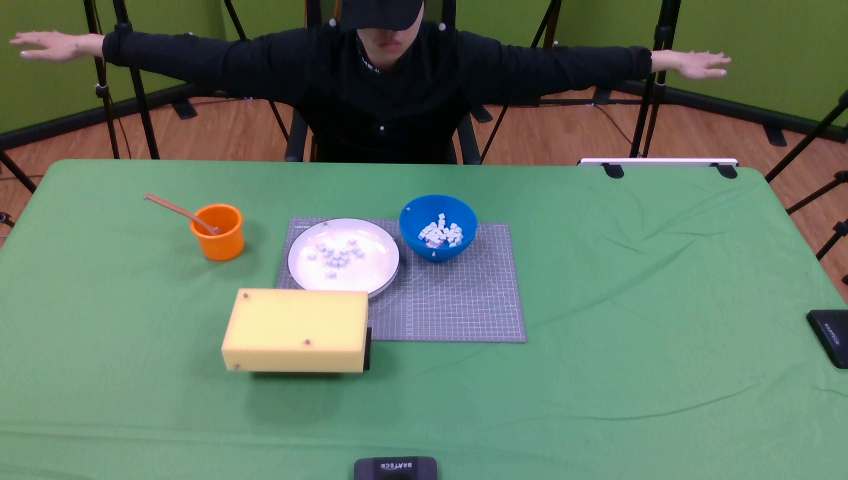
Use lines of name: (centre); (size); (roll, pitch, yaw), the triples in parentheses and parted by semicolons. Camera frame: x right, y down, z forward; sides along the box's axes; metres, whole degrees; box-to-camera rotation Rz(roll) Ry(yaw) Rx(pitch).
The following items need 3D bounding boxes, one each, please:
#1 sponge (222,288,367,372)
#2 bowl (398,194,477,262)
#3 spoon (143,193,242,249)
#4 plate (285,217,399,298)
sponge: (-0.196, 0.141, 0.952); (0.207, 0.061, 0.117); (1, 46, -3)
bowl: (0.023, -0.011, 1.167); (0.151, 0.077, 0.150); (2, 46, -2)
spoon: (-0.421, -0.037, 1.113); (0.021, 0.195, 0.041); (-36, 37, 23)
plate: (-0.150, 0.041, 1.131); (0.209, 0.038, 0.208); (2, 45, -2)
